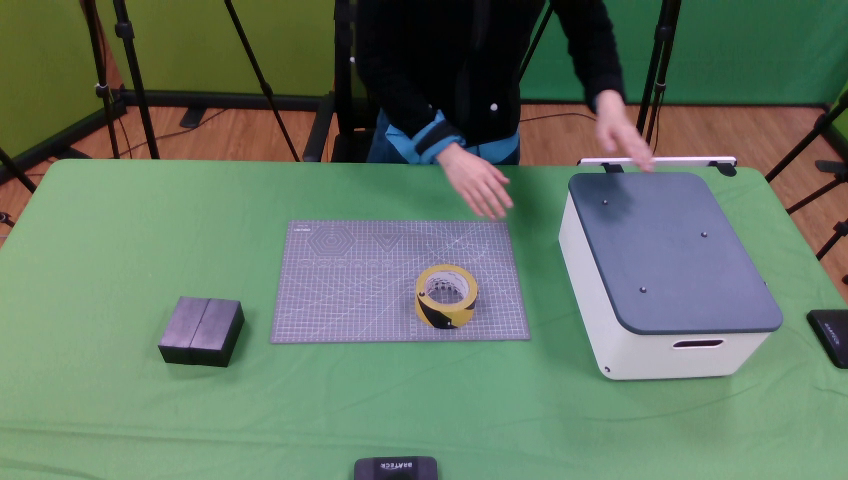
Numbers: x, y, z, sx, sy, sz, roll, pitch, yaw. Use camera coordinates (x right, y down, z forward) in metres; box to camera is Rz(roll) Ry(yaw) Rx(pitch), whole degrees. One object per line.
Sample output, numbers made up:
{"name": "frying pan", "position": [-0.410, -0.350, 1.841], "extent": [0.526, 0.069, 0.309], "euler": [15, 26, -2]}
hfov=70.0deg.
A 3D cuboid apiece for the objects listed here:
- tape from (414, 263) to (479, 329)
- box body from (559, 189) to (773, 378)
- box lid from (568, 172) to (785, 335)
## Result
{"name": "tape", "position": [0.038, 0.099, 1.079], "extent": [0.117, 0.053, 0.116], "euler": [3, 46, -2]}
{"name": "box body", "position": [0.405, 0.057, 1.074], "extent": [0.254, 0.161, 0.361], "euler": [-2, 46, -5]}
{"name": "box lid", "position": [0.407, 0.007, 1.019], "extent": [0.263, 0.015, 0.369], "euler": [-1, 46, -5]}
